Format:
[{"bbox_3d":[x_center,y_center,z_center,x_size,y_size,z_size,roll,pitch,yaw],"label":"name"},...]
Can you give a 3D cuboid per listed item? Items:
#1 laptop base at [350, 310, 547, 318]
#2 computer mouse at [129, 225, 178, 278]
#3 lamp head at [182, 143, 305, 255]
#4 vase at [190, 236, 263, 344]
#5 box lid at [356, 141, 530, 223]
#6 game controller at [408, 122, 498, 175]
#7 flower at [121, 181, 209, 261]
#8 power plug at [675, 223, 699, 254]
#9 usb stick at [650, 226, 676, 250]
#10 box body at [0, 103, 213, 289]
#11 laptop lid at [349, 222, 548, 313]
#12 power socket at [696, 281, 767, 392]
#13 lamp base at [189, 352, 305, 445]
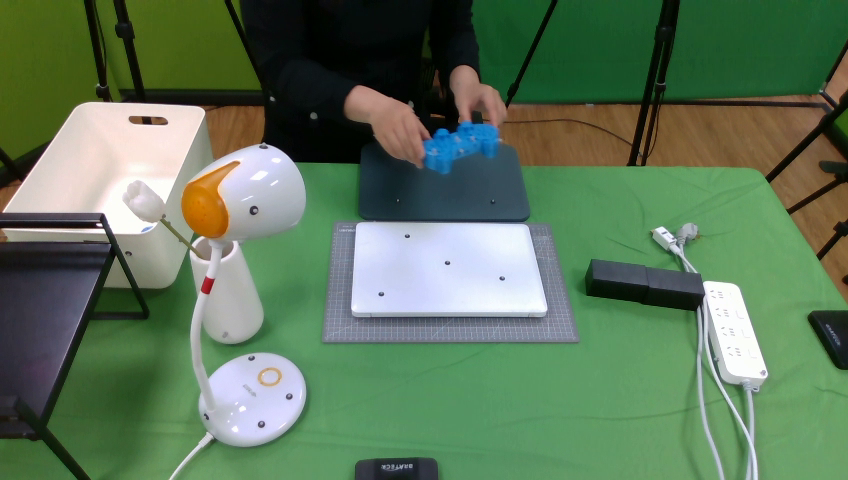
[{"bbox_3d":[0.041,0.056,1.149,0.355,0.023,0.234,0,42,-4],"label":"laptop base"},{"bbox_3d":[-0.500,0.018,1.121,0.063,0.041,0.116,4,54,-5],"label":"computer mouse"},{"bbox_3d":[-0.216,-0.044,0.697,0.112,0.113,0.123,23,31,17],"label":"lamp head"},{"bbox_3d":[-0.317,0.081,0.971,0.098,0.201,0.097,3,47,-3],"label":"vase"},{"bbox_3d":[0.040,-0.132,1.339,0.372,0.015,0.261,0,46,-4],"label":"box lid"},{"bbox_3d":[0.057,-0.170,1.057,0.155,0.052,0.096,-21,46,-19],"label":"game controller"},{"bbox_3d":[-0.329,0.029,0.905,0.038,0.364,0.044,-21,58,-1],"label":"flower"},{"bbox_3d":[0.537,0.000,1.243,0.053,0.035,0.072,19,82,-17],"label":"power plug"},{"bbox_3d":[0.486,-0.008,1.238,0.021,0.027,0.059,-22,43,-13],"label":"usb stick"},{"bbox_3d":[-0.563,-0.087,1.139,0.254,0.161,0.361,2,46,-3],"label":"box body"},{"bbox_3d":[0.042,0.046,1.142,0.357,0.013,0.240,2,44,-3],"label":"laptop lid"},{"bbox_3d":[0.543,0.161,1.077,0.072,0.033,0.225,5,46,2],"label":"power socket"},{"bbox_3d":[-0.268,0.196,0.876,0.160,0.181,0.179,25,52,20],"label":"lamp base"}]
